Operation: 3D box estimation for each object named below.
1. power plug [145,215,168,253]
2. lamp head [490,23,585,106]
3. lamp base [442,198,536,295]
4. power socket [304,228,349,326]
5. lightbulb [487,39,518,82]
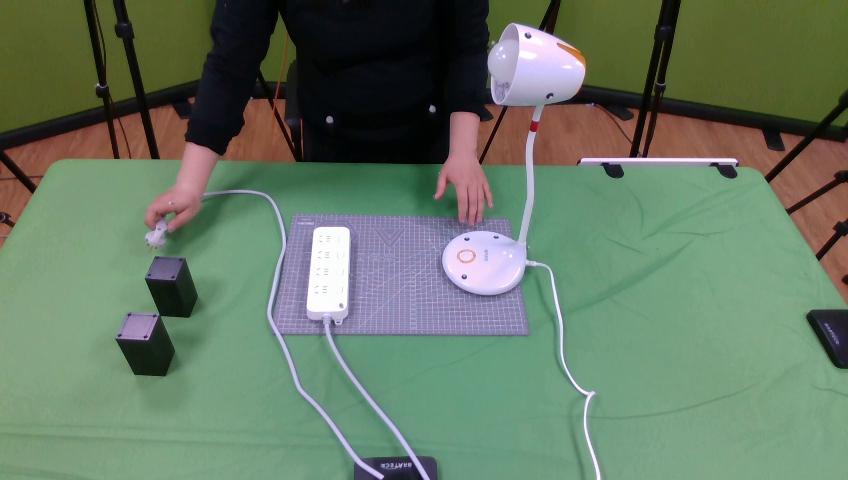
[{"bbox_3d":[-0.489,-0.008,1.124,0.035,0.053,0.072,31,19,-11],"label":"power plug"},{"bbox_3d":[0.165,-0.241,0.872,0.123,0.113,0.111,9,43,-17],"label":"lamp head"},{"bbox_3d":[0.130,-0.012,1.104,0.179,0.181,0.159,-1,46,-9],"label":"lamp base"},{"bbox_3d":[-0.177,0.059,1.115,0.072,0.033,0.225,-1,46,-4],"label":"power socket"},{"bbox_3d":[0.143,-0.252,0.865,0.108,0.060,0.059,9,45,-7],"label":"lightbulb"}]
